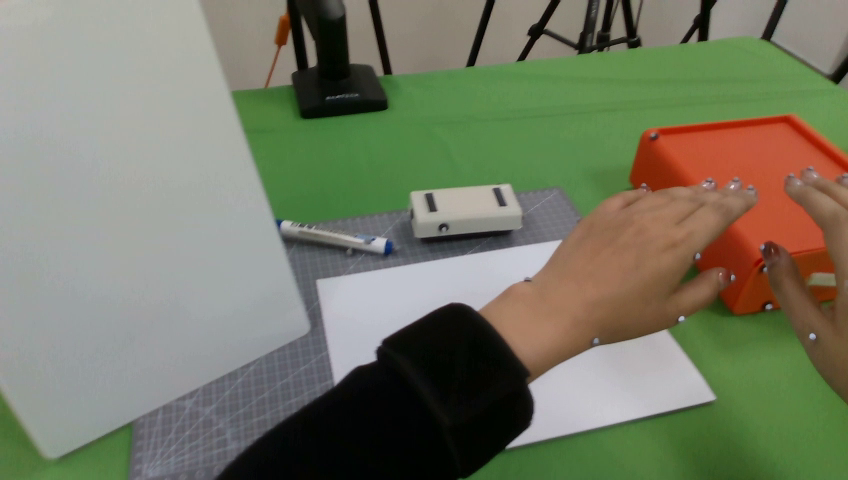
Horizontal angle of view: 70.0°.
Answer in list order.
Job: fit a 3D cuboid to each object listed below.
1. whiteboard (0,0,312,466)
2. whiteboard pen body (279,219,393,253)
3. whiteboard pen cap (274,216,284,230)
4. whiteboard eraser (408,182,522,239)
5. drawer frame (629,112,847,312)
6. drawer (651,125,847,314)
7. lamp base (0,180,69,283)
[{"bbox_3d":[-0.249,-0.031,0.471,0.217,0.308,0.142,-25,29,-25],"label":"whiteboard"},{"bbox_3d":[-0.101,-0.006,0.614,0.140,0.017,0.017,10,43,5],"label":"whiteboard pen body"},{"bbox_3d":[-0.159,-0.018,0.619,0.033,0.018,0.018,10,43,2],"label":"whiteboard pen cap"},{"bbox_3d":[0.042,-0.029,0.631,0.113,0.042,0.055,-6,41,-8],"label":"whiteboard eraser"},{"bbox_3d":[0.356,-0.037,0.626,0.202,0.083,0.211,-8,43,-10],"label":"drawer frame"},{"bbox_3d":[0.357,-0.032,0.622,0.195,0.074,0.209,-7,42,-9],"label":"drawer"},{"bbox_3d":[-0.451,-0.066,0.552,0.178,0.182,0.160,18,44,21],"label":"lamp base"}]
